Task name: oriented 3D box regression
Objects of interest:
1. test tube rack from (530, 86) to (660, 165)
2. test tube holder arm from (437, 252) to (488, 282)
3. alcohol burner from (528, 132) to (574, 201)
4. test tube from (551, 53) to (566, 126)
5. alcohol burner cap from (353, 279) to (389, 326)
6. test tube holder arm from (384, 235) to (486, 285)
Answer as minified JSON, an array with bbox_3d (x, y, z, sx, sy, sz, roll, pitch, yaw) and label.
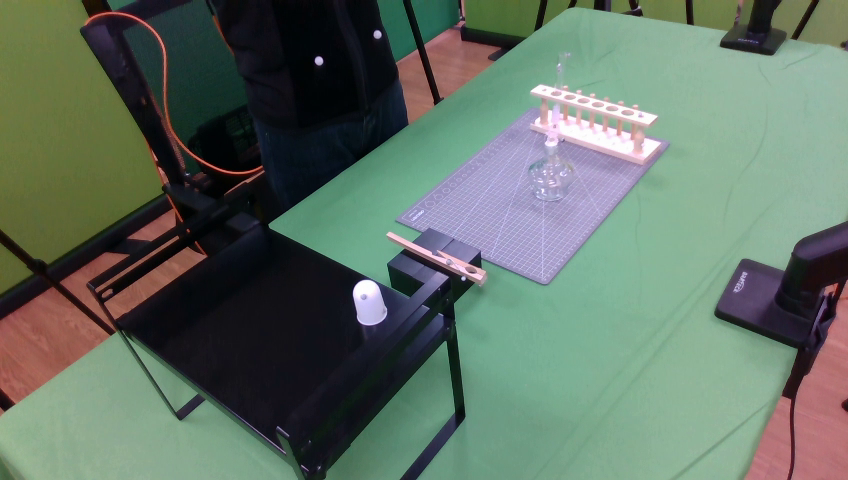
[{"bbox_3d":[0.320,-0.226,1.140,0.240,0.085,0.067,27,51,34],"label":"test tube rack"},{"bbox_3d":[0.051,0.037,0.852,0.087,0.015,0.010,22,53,31],"label":"test tube holder arm"},{"bbox_3d":[0.214,-0.126,1.016,0.078,0.119,0.077,-5,38,5],"label":"alcohol burner"},{"bbox_3d":[0.252,-0.280,1.138,0.017,0.151,0.017,-3,44,3],"label":"test tube"},{"bbox_3d":[-0.055,0.061,0.616,0.034,0.048,0.033,-5,41,4],"label":"alcohol burner cap"},{"bbox_3d":[0.012,0.027,0.871,0.177,0.015,0.013,20,53,30],"label":"test tube holder arm"}]
